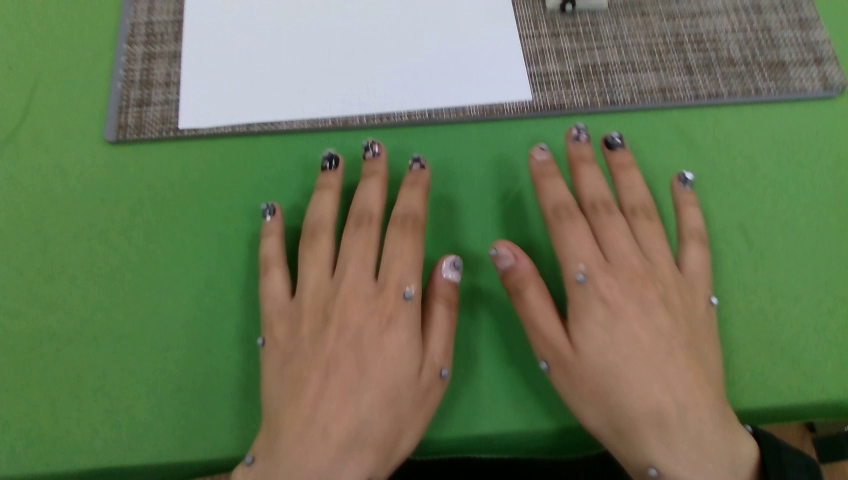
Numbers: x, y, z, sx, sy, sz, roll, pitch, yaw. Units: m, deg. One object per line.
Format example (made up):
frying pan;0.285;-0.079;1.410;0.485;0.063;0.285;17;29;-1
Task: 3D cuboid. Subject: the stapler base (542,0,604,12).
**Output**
stapler base;0.097;-0.214;0.412;0.041;0.024;0.129;-2;69;1
